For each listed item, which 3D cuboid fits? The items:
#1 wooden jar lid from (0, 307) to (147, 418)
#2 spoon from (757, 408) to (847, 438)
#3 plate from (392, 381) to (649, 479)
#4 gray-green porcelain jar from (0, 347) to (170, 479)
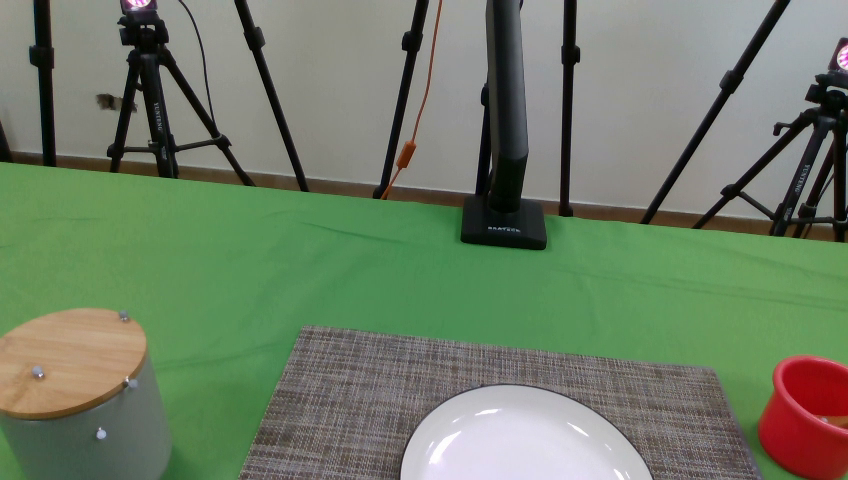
[{"bbox_3d":[-0.258,0.089,0.437,0.108,0.021,0.107,6,32,-4],"label":"wooden jar lid"},{"bbox_3d":[0.385,0.151,0.516,0.041,0.021,0.193,-31,2,-41],"label":"spoon"},{"bbox_3d":[0.077,0.204,0.493,0.208,0.039,0.205,3,34,-2],"label":"plate"},{"bbox_3d":[-0.261,0.142,0.473,0.106,0.127,0.105,3,34,-2],"label":"gray-green porcelain jar"}]
